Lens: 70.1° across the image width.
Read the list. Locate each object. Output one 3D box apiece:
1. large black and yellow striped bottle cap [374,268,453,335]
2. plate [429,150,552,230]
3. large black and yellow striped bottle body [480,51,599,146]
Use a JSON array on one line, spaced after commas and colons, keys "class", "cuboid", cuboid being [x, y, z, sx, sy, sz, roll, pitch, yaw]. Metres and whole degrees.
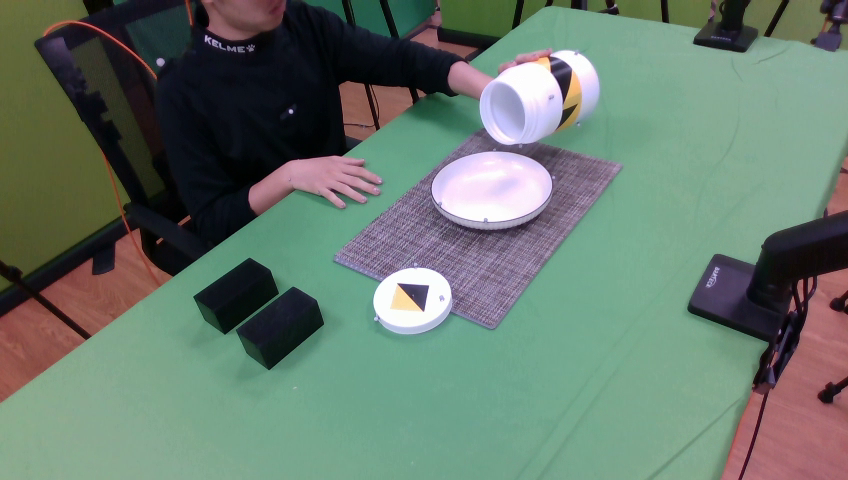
[{"class": "large black and yellow striped bottle cap", "cuboid": [-0.015, 0.087, 0.871, 0.115, 0.019, 0.114, -6, 43, 6]}, {"class": "plate", "cuboid": [0.113, -0.082, 1.032, 0.207, 0.039, 0.206, -4, 41, 4]}, {"class": "large black and yellow striped bottle body", "cuboid": [0.198, -0.242, 1.046, 0.185, 0.131, 0.129, -28, 44, -32]}]
